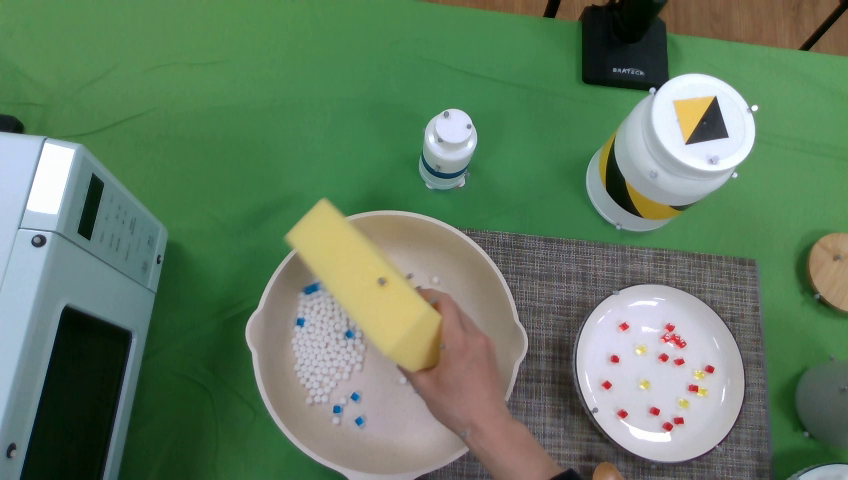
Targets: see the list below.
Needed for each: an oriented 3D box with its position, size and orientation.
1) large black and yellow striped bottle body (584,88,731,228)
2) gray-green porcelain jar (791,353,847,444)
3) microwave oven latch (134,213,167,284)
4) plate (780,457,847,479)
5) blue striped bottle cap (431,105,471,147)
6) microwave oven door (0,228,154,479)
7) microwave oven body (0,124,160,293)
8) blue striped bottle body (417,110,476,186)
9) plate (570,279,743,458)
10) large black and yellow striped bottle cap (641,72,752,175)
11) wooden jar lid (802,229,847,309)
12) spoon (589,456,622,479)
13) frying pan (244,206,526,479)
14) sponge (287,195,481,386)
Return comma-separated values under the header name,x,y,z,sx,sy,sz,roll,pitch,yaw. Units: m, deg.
name,x,y,z,sx,sy,sz,roll,pitch,yaw
large black and yellow striped bottle body,0.282,-0.101,0.724,0.131,0.184,0.130,2,74,-5
gray-green porcelain jar,0.504,0.182,0.699,0.106,0.127,0.105,2,74,-5
microwave oven latch,-0.315,0.008,0.689,0.030,0.029,0.079,9,75,-4
plate,0.480,0.357,0.695,0.208,0.039,0.206,2,74,-5
blue striped bottle cap,0.031,-0.129,0.685,0.044,0.021,0.044,1,71,-4
microwave oven door,-0.328,0.190,0.532,0.039,0.244,0.354,6,74,-4
microwave oven body,-0.469,0.135,0.538,0.326,0.261,0.439,6,75,-4
blue striped bottle body,0.027,-0.116,0.734,0.063,0.121,0.062,2,74,-5
plate,0.273,0.150,0.726,0.209,0.038,0.208,1,75,-5
large black and yellow striped bottle cap,0.289,-0.125,0.642,0.115,0.019,0.114,2,73,-5
wooden jar lid,0.549,0.038,0.798,0.108,0.021,0.108,1,76,-5
spoon,0.255,0.323,0.686,0.193,0.022,0.041,46,58,6
frying pan,-0.047,0.202,0.645,0.307,0.103,0.484,4,66,-2
sponge,-0.046,0.050,0.638,0.061,0.119,0.204,-47,51,-1
